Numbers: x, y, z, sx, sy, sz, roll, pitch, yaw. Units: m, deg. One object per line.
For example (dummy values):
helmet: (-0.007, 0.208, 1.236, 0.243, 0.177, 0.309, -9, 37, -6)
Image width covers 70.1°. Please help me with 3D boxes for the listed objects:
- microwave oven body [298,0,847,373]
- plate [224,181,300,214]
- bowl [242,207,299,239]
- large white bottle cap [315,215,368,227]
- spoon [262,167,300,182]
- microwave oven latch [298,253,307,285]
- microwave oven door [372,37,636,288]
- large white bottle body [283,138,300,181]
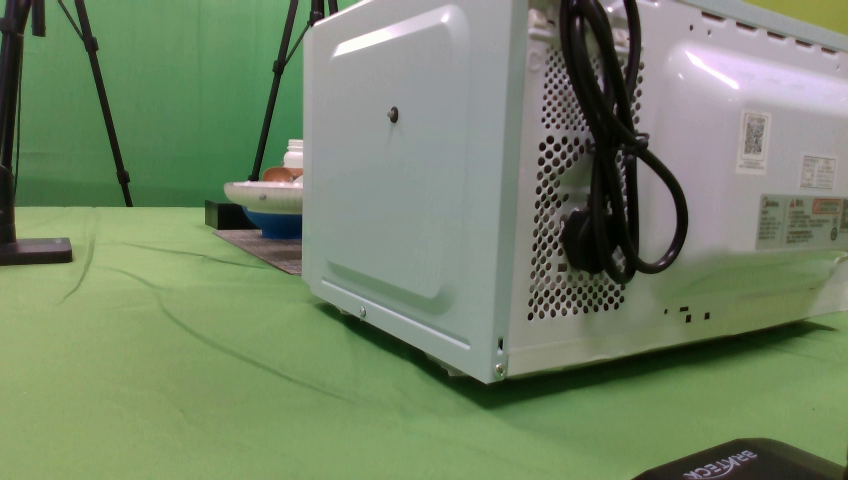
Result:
microwave oven body: (0.151, -0.055, 0.542, 0.444, 0.260, 0.324, -2, 7, -33)
plate: (-0.173, -0.061, 0.855, 0.209, 0.038, 0.209, 0, 7, 0)
bowl: (-0.245, -0.045, 1.053, 0.151, 0.077, 0.151, 3, 8, 0)
large white bottle cap: (-0.177, -0.041, 1.309, 0.115, 0.018, 0.115, 2, 6, 0)
spoon: (-0.194, -0.127, 1.065, 0.194, 0.041, 0.021, -20, -8, -29)
microwave oven latch: (-0.081, 0.027, 0.582, 0.079, 0.029, 0.030, -1, 7, -32)
microwave oven door: (0.109, -0.080, 0.686, 0.358, 0.243, 0.039, -2, 9, -33)
large white bottle body: (-0.265, -0.143, 1.424, 0.131, 0.184, 0.130, 2, 7, 0)
